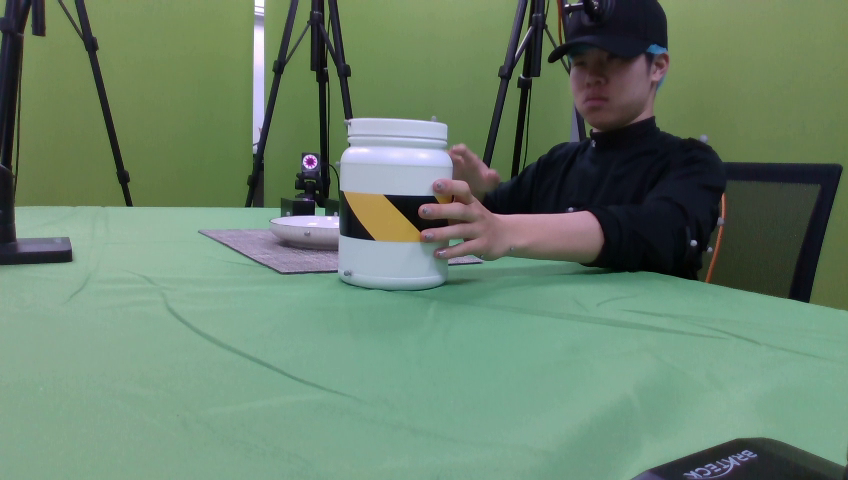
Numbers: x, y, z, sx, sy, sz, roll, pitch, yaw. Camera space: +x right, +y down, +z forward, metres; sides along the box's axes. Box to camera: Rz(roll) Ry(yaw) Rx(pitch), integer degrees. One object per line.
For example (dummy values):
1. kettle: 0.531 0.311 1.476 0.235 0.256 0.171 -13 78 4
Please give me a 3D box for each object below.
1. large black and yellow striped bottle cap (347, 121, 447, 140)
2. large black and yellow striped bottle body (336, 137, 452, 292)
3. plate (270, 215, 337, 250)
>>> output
1. large black and yellow striped bottle cap: -0.031 -0.124 0.691 0.115 0.019 0.115 1 7 0
2. large black and yellow striped bottle body: -0.035 -0.041 0.703 0.131 0.184 0.130 3 7 0
3. plate: -0.146 -0.013 0.992 0.208 0.039 0.207 2 7 0
